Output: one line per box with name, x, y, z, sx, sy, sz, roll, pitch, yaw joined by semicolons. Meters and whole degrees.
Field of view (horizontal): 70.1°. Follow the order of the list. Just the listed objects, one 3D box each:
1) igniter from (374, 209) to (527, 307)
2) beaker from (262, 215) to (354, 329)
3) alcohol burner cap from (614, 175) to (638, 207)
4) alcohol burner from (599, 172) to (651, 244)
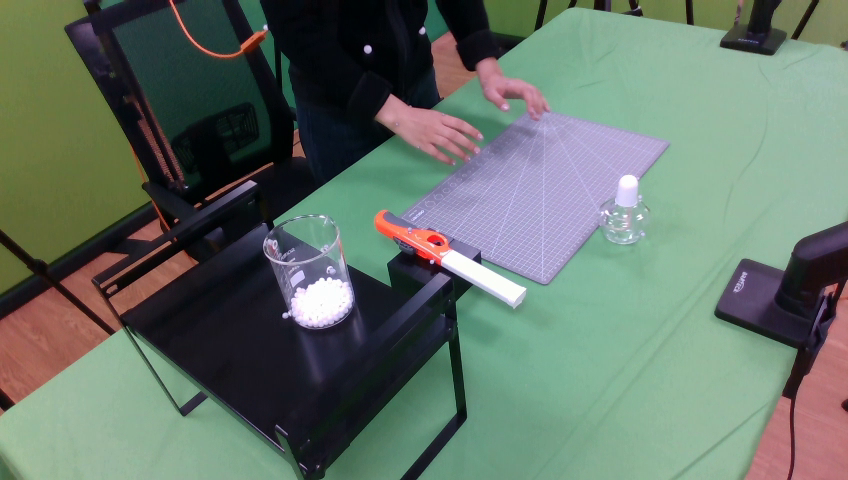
igniter;0.026;0.019;0.873;0.274;0.025;0.057;29;52;31
beaker;-0.112;0.034;0.616;0.073;0.101;0.084;13;44;23
alcohol burner cap;0.303;-0.076;0.901;0.034;0.048;0.033;-4;43;4
alcohol burner;0.307;-0.052;0.920;0.078;0.119;0.077;-6;42;6
